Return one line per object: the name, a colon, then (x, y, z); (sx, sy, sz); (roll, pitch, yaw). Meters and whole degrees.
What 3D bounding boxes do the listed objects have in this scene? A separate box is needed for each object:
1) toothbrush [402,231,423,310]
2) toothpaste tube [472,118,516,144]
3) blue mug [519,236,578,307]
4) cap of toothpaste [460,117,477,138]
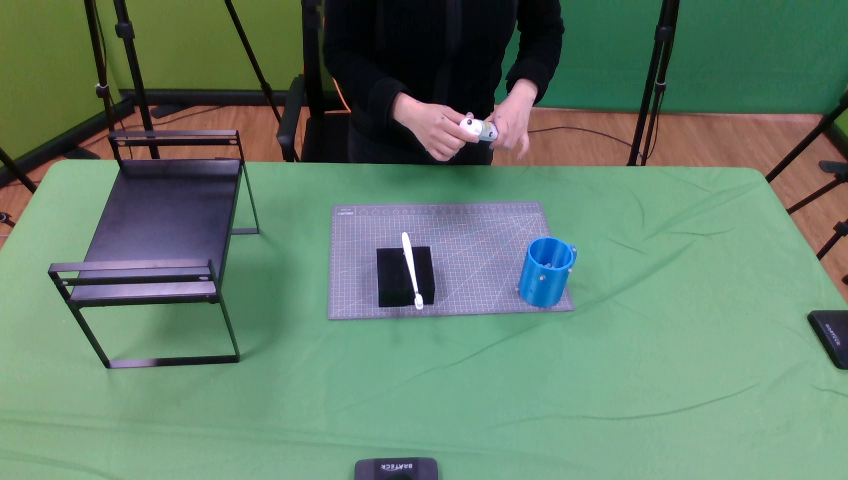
toothbrush: (-0.022, 0.049, 1.080); (0.014, 0.017, 0.180); (-9, 47, -5)
toothpaste tube: (0.127, -0.209, 1.160); (0.165, 0.034, 0.055); (-9, 66, -55)
blue mug: (0.234, 0.051, 1.102); (0.116, 0.106, 0.082); (-23, 52, -24)
cap of toothpaste: (0.082, -0.205, 1.096); (0.037, 0.037, 0.011); (35, 24, 26)
